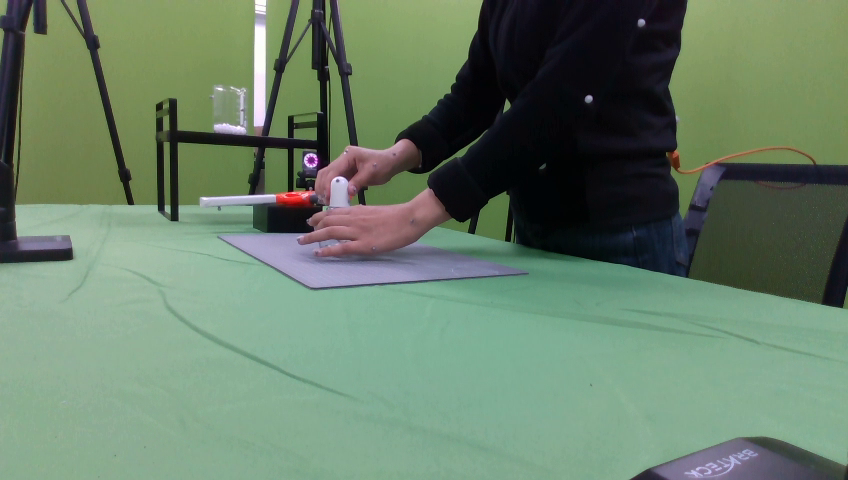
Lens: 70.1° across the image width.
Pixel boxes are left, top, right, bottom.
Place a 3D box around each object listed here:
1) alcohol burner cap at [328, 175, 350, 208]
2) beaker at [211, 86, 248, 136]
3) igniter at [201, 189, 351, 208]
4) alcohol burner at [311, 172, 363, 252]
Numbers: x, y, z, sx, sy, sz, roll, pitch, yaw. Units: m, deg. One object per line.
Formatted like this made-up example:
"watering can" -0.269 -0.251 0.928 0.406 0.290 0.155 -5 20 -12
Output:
"alcohol burner cap" -0.126 -0.072 0.902 0.034 0.048 0.034 1 9 0
"beaker" -0.414 -0.274 1.297 0.074 0.100 0.083 -5 11 -44
"igniter" -0.272 -0.078 1.139 0.278 0.025 0.057 -5 11 -28
"alcohol burner" -0.130 -0.042 0.905 0.078 0.119 0.078 2 6 0
